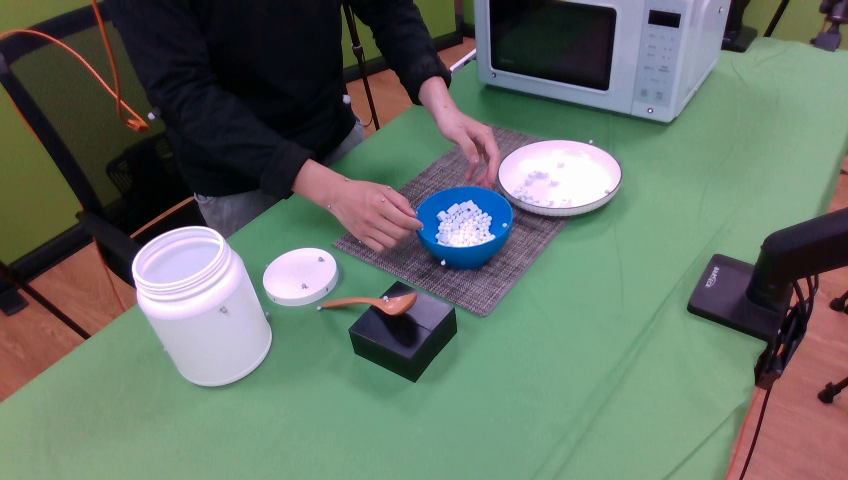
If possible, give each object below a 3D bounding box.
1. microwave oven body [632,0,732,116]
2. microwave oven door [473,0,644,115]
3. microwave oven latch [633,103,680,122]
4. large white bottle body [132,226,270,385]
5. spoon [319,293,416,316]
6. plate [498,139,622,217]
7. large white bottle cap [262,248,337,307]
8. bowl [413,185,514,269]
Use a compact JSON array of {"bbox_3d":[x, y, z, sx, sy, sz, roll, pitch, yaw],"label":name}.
[{"bbox_3d":[0.377,-0.463,1.267,0.438,0.261,0.327,21,49,30],"label":"microwave oven body"},{"bbox_3d":[0.257,-0.396,1.199,0.353,0.245,0.039,21,48,29],"label":"microwave oven door"},{"bbox_3d":[0.444,-0.249,1.157,0.078,0.029,0.030,21,49,30],"label":"microwave oven latch"},{"bbox_3d":[-0.286,0.085,0.783,0.130,0.185,0.130,-4,41,4],"label":"large white bottle body"},{"bbox_3d":[-0.082,0.086,0.827,0.192,0.022,0.041,-3,37,41],"label":"spoon"},{"bbox_3d":[0.231,-0.103,1.038,0.209,0.038,0.208,-4,41,4],"label":"plate"},{"bbox_3d":[-0.193,0.056,0.934,0.115,0.018,0.114,-4,41,4],"label":"large white bottle cap"},{"bbox_3d":[0.062,-0.009,0.920,0.151,0.077,0.150,-4,40,4],"label":"bowl"}]
